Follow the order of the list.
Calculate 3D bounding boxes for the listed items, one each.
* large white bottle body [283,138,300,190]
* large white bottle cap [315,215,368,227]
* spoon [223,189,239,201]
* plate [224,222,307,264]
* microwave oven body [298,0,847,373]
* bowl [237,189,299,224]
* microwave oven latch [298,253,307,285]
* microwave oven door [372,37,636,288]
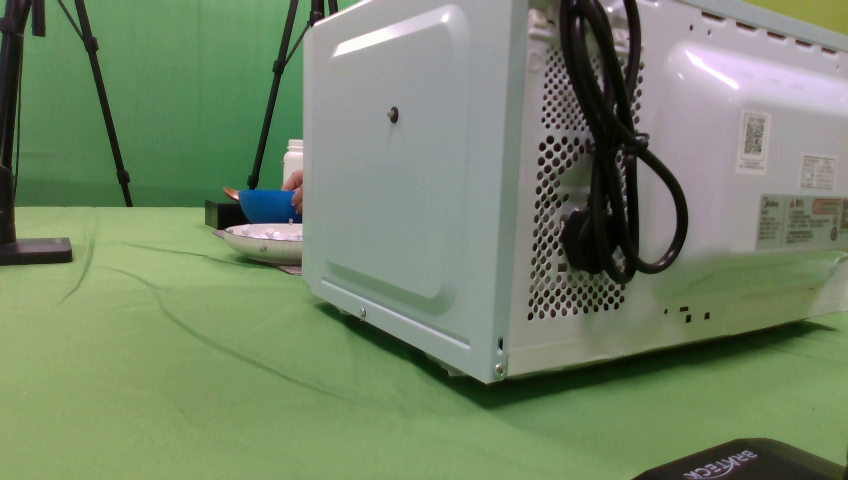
[{"bbox_3d":[-0.265,-0.144,1.423,0.131,0.184,0.130,2,7,0],"label":"large white bottle body"},{"bbox_3d":[-0.177,-0.041,1.308,0.115,0.018,0.115,3,7,0],"label":"large white bottle cap"},{"bbox_3d":[-0.315,-0.087,1.237,0.195,0.021,0.041,1,18,-38],"label":"spoon"},{"bbox_3d":[-0.171,0.004,0.849,0.209,0.038,0.209,2,7,0],"label":"plate"},{"bbox_3d":[0.151,-0.055,0.542,0.444,0.260,0.324,-2,7,-33],"label":"microwave oven body"},{"bbox_3d":[-0.247,-0.046,1.055,0.151,0.077,0.151,3,8,0],"label":"bowl"},{"bbox_3d":[-0.081,0.027,0.582,0.079,0.029,0.030,-1,7,-32],"label":"microwave oven latch"},{"bbox_3d":[0.110,-0.080,0.686,0.358,0.243,0.039,-2,9,-33],"label":"microwave oven door"}]
